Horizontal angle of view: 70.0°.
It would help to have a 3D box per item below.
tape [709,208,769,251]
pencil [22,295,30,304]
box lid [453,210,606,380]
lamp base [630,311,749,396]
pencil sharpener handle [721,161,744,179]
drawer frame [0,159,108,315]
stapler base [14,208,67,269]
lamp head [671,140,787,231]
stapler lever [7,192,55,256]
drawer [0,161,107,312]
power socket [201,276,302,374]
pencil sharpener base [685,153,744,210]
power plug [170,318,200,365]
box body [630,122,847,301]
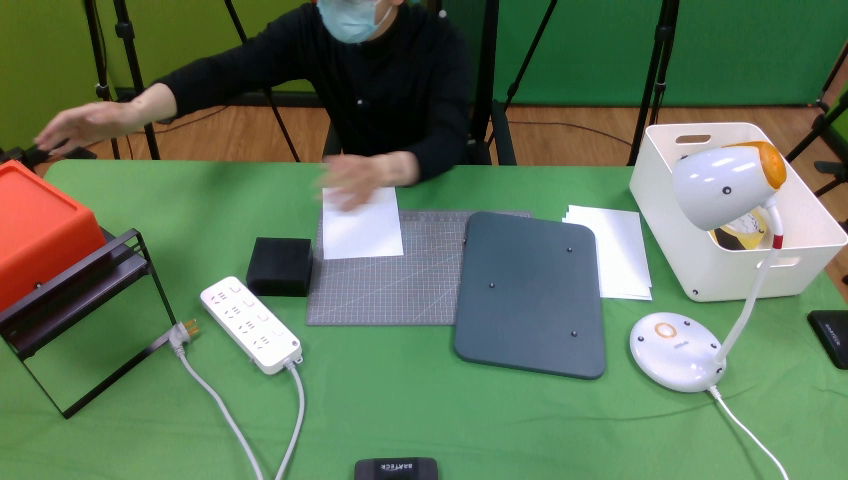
[{"bbox_3d":[0.633,-0.025,1.238,0.117,0.053,0.116,1,46,-1],"label":"tape"},{"bbox_3d":[-0.590,0.010,0.882,0.012,0.012,0.193,-17,61,-20],"label":"pencil"},{"bbox_3d":[0.200,0.085,1.138,0.263,0.015,0.369,8,47,3],"label":"box lid"},{"bbox_3d":[0.447,0.143,0.983,0.161,0.181,0.178,-24,55,-24],"label":"lamp base"},{"bbox_3d":[0.668,-0.147,1.299,0.031,0.068,0.036,-8,78,-12],"label":"pencil sharpener handle"},{"bbox_3d":[-0.611,0.000,0.863,0.201,0.083,0.213,27,51,20],"label":"drawer frame"},{"bbox_3d":[-0.577,-0.010,0.903,0.041,0.024,0.130,-30,57,-25],"label":"stapler base"},{"bbox_3d":[0.415,-0.078,0.811,0.113,0.123,0.112,12,70,-37],"label":"lamp head"},{"bbox_3d":[-0.575,-0.026,0.885,0.027,0.040,0.117,-30,56,-25],"label":"stapler lever"},{"bbox_3d":[-0.610,-0.001,0.866,0.194,0.073,0.211,29,52,21],"label":"drawer"},{"bbox_3d":[-0.297,0.141,1.034,0.072,0.033,0.225,-34,58,-30],"label":"power socket"},{"bbox_3d":[0.619,-0.124,1.293,0.077,0.107,0.061,-8,47,-12],"label":"pencil sharpener base"},{"bbox_3d":[-0.392,0.167,1.014,0.052,0.035,0.072,-30,90,-24],"label":"power plug"},{"bbox_3d":[0.594,-0.062,1.202,0.254,0.161,0.361,-4,47,-7],"label":"box body"}]
